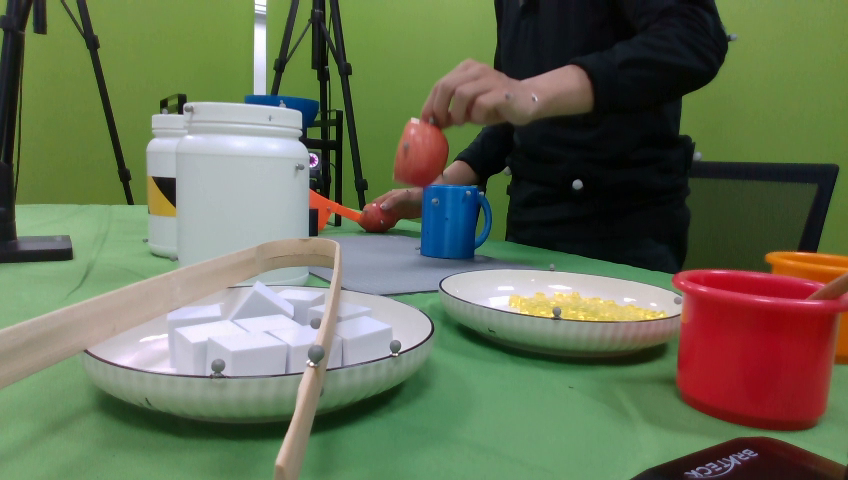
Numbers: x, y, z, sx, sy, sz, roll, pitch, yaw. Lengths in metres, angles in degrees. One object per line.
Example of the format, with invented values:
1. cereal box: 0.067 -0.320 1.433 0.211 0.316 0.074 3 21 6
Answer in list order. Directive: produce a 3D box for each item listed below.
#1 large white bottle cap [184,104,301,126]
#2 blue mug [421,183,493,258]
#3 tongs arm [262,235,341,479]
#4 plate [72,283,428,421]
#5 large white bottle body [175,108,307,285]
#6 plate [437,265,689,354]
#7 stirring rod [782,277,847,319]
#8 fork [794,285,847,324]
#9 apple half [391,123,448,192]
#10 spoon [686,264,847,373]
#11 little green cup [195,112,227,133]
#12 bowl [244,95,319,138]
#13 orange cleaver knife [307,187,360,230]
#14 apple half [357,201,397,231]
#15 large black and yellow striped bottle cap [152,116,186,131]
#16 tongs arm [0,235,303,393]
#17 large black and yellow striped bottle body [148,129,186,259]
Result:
1. large white bottle cap: -0.184 -0.126 0.618 0.115 0.018 0.115 2 8 0
2. blue mug: 0.052 -0.032 0.912 0.117 0.106 0.082 -1 8 -24
3. tongs arm: -0.073 0.039 0.349 0.051 0.026 0.384 -1 10 -3
4. plate: -0.102 0.066 0.381 0.208 0.039 0.207 2 7 0
5. large white bottle body: -0.188 -0.042 0.630 0.131 0.184 0.130 2 8 0
6. plate: 0.113 0.057 0.517 0.209 0.038 0.209 3 7 0
7. stirring rod: 0.344 0.019 0.460 0.014 0.006 0.176 -13 -27 -30
8. fork: 0.332 0.018 0.442 0.028 0.018 0.207 -1 -36 -16
9. apple half: -0.002 -0.090 0.684 0.053 0.074 0.081 21 -1 4
10. spoon: 0.214 0.032 0.328 0.042 0.021 0.193 -3 -35 -26
11. little green cup: -0.412 -0.227 1.171 0.061 0.038 0.061 3 8 0
12. bowl: -0.293 -0.251 1.249 0.151 0.077 0.151 2 8 0
13. orange cleaver knife: -0.200 -0.060 1.145 0.212 0.077 0.012 26 -10 -35
14. apple half: -0.090 -0.038 1.175 0.081 0.081 0.032 1 50 -10
15. large black and yellow striped bottle cap: -0.309 -0.155 0.826 0.115 0.019 0.115 3 6 0
16. tongs arm: -0.157 0.038 0.351 0.028 0.028 0.388 -3 8 12
17. large black and yellow striped bottle body: -0.310 -0.073 0.838 0.131 0.184 0.130 2 8 0
